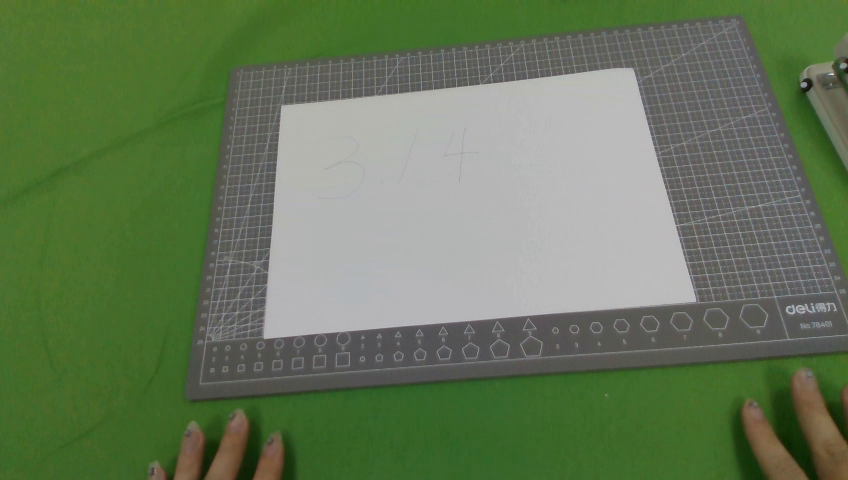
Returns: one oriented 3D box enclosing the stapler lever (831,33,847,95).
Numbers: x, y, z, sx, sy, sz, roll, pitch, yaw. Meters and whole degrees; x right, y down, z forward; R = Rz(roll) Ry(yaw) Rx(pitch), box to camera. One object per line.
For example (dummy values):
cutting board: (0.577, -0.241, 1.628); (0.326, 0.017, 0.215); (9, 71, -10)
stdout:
stapler lever: (0.324, -0.098, 0.428); (0.027, 0.040, 0.117); (-10, 64, 4)

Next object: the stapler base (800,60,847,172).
stapler base: (0.326, -0.088, 0.451); (0.041, 0.024, 0.129); (-10, 64, 4)
